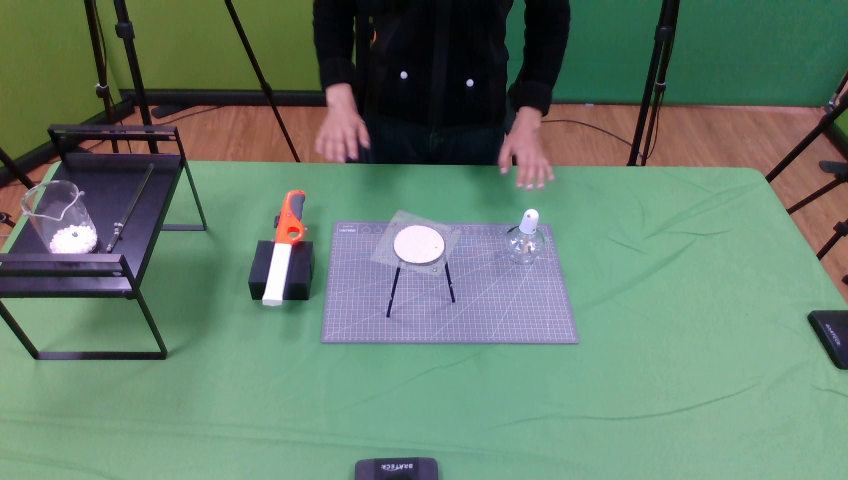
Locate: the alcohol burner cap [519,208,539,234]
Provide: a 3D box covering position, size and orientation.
[{"bbox_3d":[0.199,-0.037,1.132,0.034,0.048,0.033,4,44,-4],"label":"alcohol burner cap"}]

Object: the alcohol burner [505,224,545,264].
[{"bbox_3d":[0.195,-0.013,1.158,0.078,0.120,0.077,1,44,-1],"label":"alcohol burner"}]

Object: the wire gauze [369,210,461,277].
[{"bbox_3d":[-0.013,0.005,1.017,0.121,0.011,0.124,17,49,12],"label":"wire gauze"}]

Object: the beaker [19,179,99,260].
[{"bbox_3d":[-0.522,-0.024,0.878,0.074,0.101,0.083,-26,54,-25],"label":"beaker"}]

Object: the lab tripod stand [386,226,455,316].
[{"bbox_3d":[-0.013,0.054,1.064,0.148,0.132,0.147,2,48,-2],"label":"lab tripod stand"}]

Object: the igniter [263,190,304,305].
[{"bbox_3d":[-0.255,0.004,1.107,0.057,0.025,0.274,6,46,-7],"label":"igniter"}]

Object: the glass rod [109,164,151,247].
[{"bbox_3d":[-0.473,-0.061,0.979,0.008,0.008,0.198,1,46,-3],"label":"glass rod"}]
